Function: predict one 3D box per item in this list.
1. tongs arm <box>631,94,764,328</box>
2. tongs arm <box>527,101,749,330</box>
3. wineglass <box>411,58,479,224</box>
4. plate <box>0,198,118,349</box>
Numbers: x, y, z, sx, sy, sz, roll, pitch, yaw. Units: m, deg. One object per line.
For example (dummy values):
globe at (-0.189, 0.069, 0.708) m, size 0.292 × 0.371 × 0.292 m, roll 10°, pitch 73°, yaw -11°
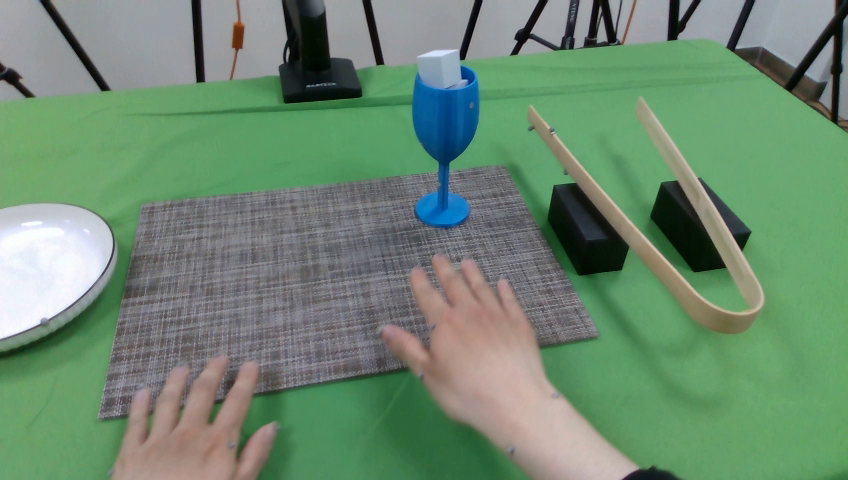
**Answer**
tongs arm at (0.285, -0.058, 0.666) m, size 0.028 × 0.028 × 0.383 m, roll 4°, pitch 41°, yaw -6°
tongs arm at (0.206, -0.050, 0.654) m, size 0.051 × 0.027 × 0.380 m, roll -8°, pitch 42°, yaw -13°
wineglass at (0.021, -0.104, 0.664) m, size 0.074 × 0.174 × 0.073 m, roll 1°, pitch 42°, yaw 0°
plate at (-0.412, 0.035, 0.602) m, size 0.209 × 0.038 × 0.207 m, roll 1°, pitch 41°, yaw 0°
